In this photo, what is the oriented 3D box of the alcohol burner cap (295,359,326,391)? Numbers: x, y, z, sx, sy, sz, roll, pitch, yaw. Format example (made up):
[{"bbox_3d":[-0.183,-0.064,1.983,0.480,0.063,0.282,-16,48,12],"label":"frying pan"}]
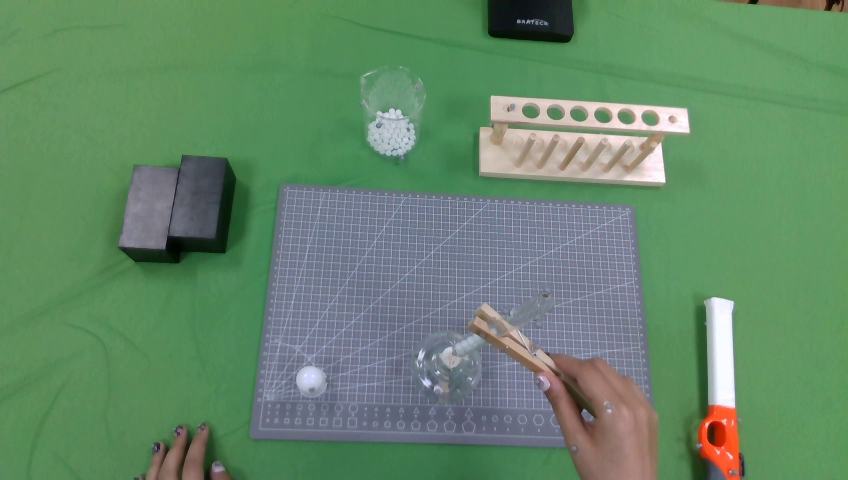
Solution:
[{"bbox_3d":[-0.124,0.144,0.655,0.034,0.048,0.033,2,71,-5],"label":"alcohol burner cap"}]

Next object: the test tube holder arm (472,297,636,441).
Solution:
[{"bbox_3d":[0.111,0.110,0.512,0.179,0.015,0.013,40,59,-5],"label":"test tube holder arm"}]

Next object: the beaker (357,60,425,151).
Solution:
[{"bbox_3d":[-0.044,-0.161,0.739,0.084,0.101,0.074,30,71,6],"label":"beaker"}]

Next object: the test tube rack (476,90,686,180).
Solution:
[{"bbox_3d":[0.192,-0.129,0.759,0.243,0.085,0.066,3,71,-5],"label":"test tube rack"}]

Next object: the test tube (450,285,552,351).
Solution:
[{"bbox_3d":[0.058,0.068,0.502,0.017,0.150,0.017,10,63,-21],"label":"test tube"}]

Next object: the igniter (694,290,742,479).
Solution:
[{"bbox_3d":[0.336,0.193,0.695,0.057,0.025,0.275,12,71,-12],"label":"igniter"}]

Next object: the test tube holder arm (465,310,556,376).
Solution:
[{"bbox_3d":[0.073,0.087,0.505,0.088,0.015,0.010,33,59,-9],"label":"test tube holder arm"}]

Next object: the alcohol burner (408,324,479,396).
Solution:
[{"bbox_3d":[0.023,0.123,0.639,0.078,0.119,0.077,2,69,-5],"label":"alcohol burner"}]
